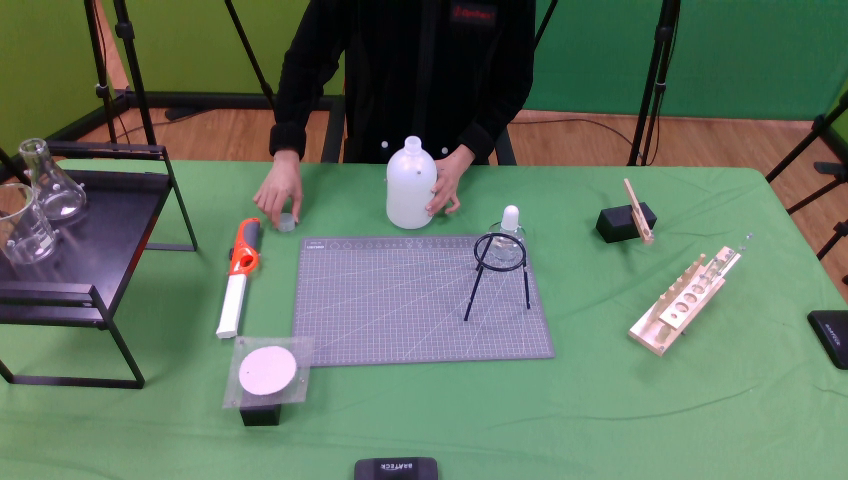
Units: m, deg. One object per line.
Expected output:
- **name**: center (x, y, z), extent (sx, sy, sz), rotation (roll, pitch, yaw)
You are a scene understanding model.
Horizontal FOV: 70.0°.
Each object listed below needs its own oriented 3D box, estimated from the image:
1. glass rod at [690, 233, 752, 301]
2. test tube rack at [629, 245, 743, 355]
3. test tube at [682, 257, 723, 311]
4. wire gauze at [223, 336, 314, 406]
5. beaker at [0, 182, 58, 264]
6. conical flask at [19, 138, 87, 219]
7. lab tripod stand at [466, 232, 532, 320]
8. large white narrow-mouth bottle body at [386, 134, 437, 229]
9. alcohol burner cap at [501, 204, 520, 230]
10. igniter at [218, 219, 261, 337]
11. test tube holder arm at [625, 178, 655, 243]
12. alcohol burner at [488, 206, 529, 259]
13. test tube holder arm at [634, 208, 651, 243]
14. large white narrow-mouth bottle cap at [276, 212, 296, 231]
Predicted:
- **glass rod**: center (0.507, 0.053, 1.041), extent (0.008, 0.200, 0.008), rotation (5, 51, -6)
- **test tube rack**: center (0.474, 0.095, 1.091), extent (0.242, 0.085, 0.066), rotation (-34, 57, -31)
- **test tube**: center (0.475, 0.080, 1.037), extent (0.017, 0.151, 0.017), rotation (1, 50, -1)
- **wire gauze**: center (-0.236, 0.197, 0.931), extent (0.121, 0.011, 0.124), rotation (1, 45, -4)
- **beaker**: center (-0.582, -0.019, 0.870), extent (0.074, 0.101, 0.083), rotation (5, 46, 1)
- **conical flask**: center (-0.576, -0.097, 0.930), extent (0.075, 0.122, 0.075), rotation (2, 46, -2)
- **lab tripod stand**: center (0.125, 0.059, 1.065), extent (0.148, 0.132, 0.147), rotation (1, 45, 0)
- **large white narrow-mouth bottle body**: center (-0.024, -0.120, 1.191), extent (0.102, 0.195, 0.101), rotation (2, 46, -2)
- **alcohol burner cap**: center (0.164, -0.046, 1.133), extent (0.034, 0.048, 0.033), rotation (2, 40, -2)
- **igniter**: center (-0.336, 0.060, 1.111), extent (0.057, 0.025, 0.274), rotation (-8, 46, 3)
- **test tube holder arm**: center (0.433, -0.062, 1.220), extent (0.013, 0.015, 0.177), rotation (1, 47, -3)
- **alcohol burner**: center (0.163, -0.020, 1.158), extent (0.078, 0.120, 0.077), rotation (0, 47, 0)
- **test tube holder arm**: center (0.428, -0.030, 1.189), extent (0.010, 0.015, 0.087), rotation (1, 47, -2)
- **large white narrow-mouth bottle cap**: center (-0.276, -0.037, 1.211), extent (0.038, 0.024, 0.037), rotation (3, 46, -3)
